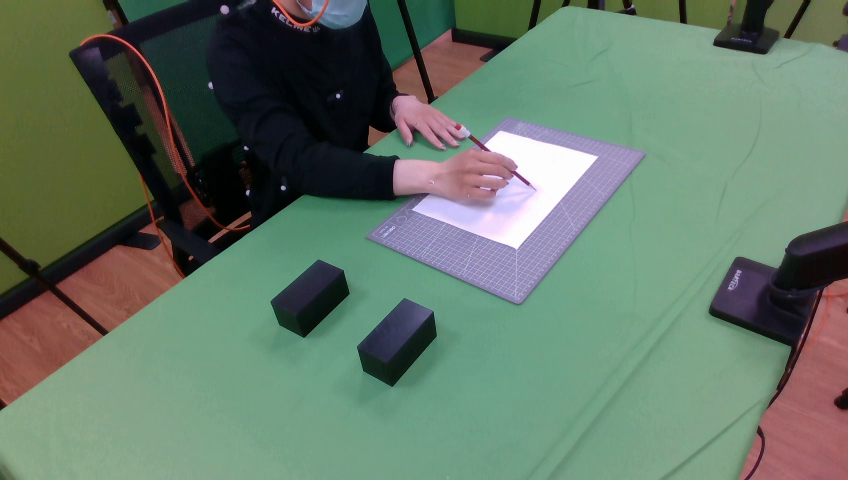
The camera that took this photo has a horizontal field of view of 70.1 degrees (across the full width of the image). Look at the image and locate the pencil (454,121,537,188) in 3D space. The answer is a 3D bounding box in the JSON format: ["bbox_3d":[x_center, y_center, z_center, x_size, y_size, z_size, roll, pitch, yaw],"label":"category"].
[{"bbox_3d":[0.124,-0.139,1.012,0.012,0.195,0.012,-40,31,30],"label":"pencil"}]
